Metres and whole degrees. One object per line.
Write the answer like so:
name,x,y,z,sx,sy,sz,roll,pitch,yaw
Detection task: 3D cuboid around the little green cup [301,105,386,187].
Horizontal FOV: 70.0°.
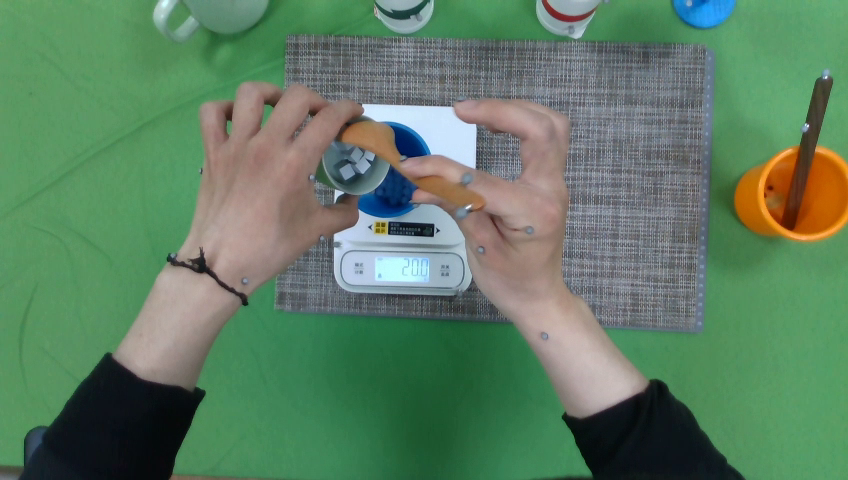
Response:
little green cup,-0.063,-0.073,0.468,0.062,0.038,0.062,-10,105,-39

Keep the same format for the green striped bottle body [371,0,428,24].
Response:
green striped bottle body,-0.029,-0.263,0.595,0.063,0.119,0.063,0,90,3

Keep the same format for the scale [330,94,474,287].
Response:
scale,-0.024,-0.051,0.637,0.148,0.031,0.201,1,91,3

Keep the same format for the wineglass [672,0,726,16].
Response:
wineglass,0.284,-0.269,0.552,0.074,0.172,0.073,0,90,4

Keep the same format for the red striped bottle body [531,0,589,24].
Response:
red striped bottle body,0.141,-0.260,0.586,0.063,0.119,0.063,0,90,3

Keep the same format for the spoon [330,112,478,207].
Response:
spoon,-0.015,-0.053,0.377,0.042,0.191,0.022,-17,122,-21

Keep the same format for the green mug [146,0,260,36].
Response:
green mug,-0.230,-0.262,0.613,0.092,0.105,0.125,37,92,2

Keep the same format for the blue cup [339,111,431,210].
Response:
blue cup,-0.033,-0.070,0.573,0.092,0.100,0.092,0,92,4

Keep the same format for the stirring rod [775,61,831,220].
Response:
stirring rod,0.354,-0.086,0.570,0.014,0.005,0.178,-12,132,4
